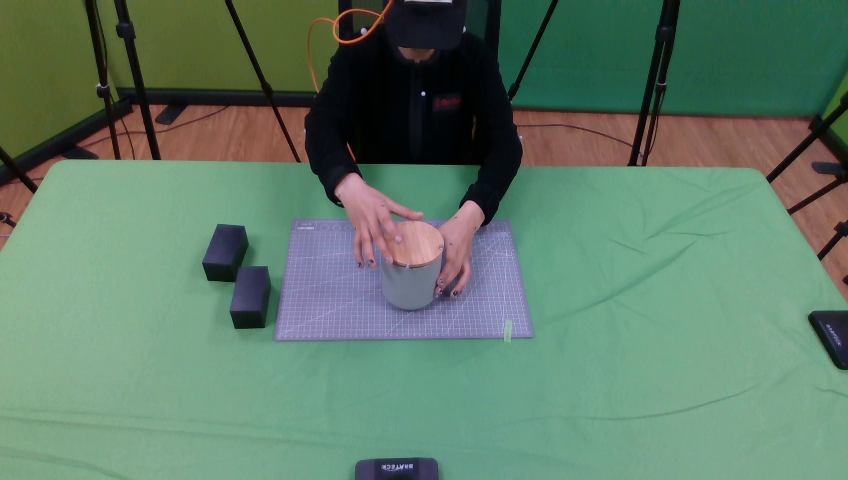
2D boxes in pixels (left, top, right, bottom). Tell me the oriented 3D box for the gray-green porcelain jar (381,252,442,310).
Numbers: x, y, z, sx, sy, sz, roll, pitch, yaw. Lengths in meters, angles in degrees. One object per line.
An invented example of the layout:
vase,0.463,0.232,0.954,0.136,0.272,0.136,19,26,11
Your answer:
gray-green porcelain jar,-0.023,0.053,1.068,0.106,0.127,0.105,2,46,-2

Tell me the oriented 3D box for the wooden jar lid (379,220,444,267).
wooden jar lid,-0.021,0.009,1.021,0.108,0.021,0.107,2,45,-2
